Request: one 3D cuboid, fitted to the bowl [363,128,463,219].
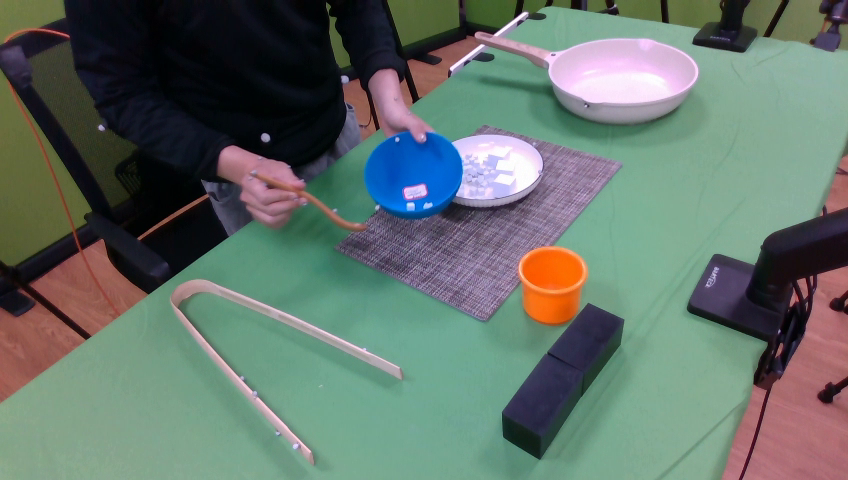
[{"bbox_3d":[-0.013,-0.086,0.925,0.151,0.077,0.150,-2,61,4],"label":"bowl"}]

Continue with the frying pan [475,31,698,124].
[{"bbox_3d":[0.320,-0.371,1.290,0.485,0.103,0.307,28,50,23],"label":"frying pan"}]

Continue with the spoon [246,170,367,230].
[{"bbox_3d":[-0.158,-0.054,0.836,0.041,0.195,0.021,18,79,53],"label":"spoon"}]

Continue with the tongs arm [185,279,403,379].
[{"bbox_3d":[-0.194,0.120,0.853,0.385,0.028,0.028,17,49,26],"label":"tongs arm"}]

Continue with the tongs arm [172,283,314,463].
[{"bbox_3d":[-0.246,0.161,0.806,0.381,0.026,0.051,29,51,36],"label":"tongs arm"}]

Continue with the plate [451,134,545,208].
[{"bbox_3d":[0.109,-0.119,1.073,0.207,0.039,0.206,-4,41,4],"label":"plate"}]
